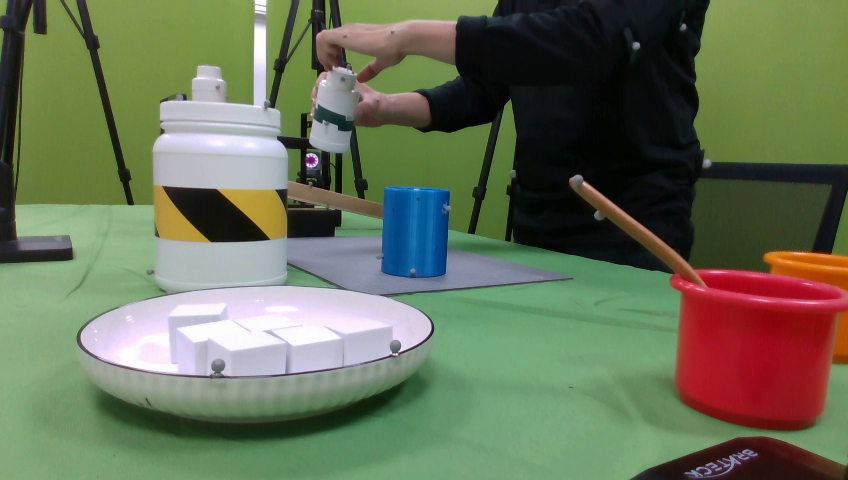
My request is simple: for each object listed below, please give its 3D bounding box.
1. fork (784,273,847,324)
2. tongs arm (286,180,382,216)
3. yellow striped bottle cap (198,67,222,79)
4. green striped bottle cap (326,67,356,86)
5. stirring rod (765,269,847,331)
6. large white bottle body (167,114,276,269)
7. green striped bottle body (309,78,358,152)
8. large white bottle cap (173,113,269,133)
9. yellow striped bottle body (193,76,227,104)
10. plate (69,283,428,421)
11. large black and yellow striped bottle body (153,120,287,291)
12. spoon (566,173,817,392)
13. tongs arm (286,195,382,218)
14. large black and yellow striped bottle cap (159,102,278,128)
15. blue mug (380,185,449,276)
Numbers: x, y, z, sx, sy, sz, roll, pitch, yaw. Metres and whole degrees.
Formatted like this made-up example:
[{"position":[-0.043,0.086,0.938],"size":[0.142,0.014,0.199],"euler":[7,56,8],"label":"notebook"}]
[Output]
[{"position":[0.332,0.018,0.444],"size":[0.028,0.018,0.207],"euler":[-2,-35,-15],"label":"fork"},{"position":[-0.122,-0.067,1.147],"size":[0.387,0.026,0.050],"euler":[11,-2,-37],"label":"tongs arm"},{"position":[-0.412,-0.320,1.163],"size":[0.044,0.018,0.044],"euler":[1,5,0],"label":"yellow striped bottle cap"},{"position":[-0.125,-0.247,0.914],"size":[0.044,0.020,0.044],"euler":[12,23,-5],"label":"green striped bottle cap"},{"position":[0.352,0.020,0.484],"size":[0.176,0.006,0.014],"euler":[-40,-6,13],"label":"stirring rod"},{"position":[-0.257,-0.063,0.772],"size":[0.131,0.184,0.130],"euler":[2,7,0],"label":"large white bottle body"},{"position":[-0.138,-0.201,0.936],"size":[0.063,0.119,0.063],"euler":[12,23,-5],"label":"green striped bottle body"},{"position":[-0.254,-0.146,0.760],"size":[0.115,0.018,0.115],"euler":[1,7,0],"label":"large white bottle cap"},{"position":[-0.414,-0.268,1.169],"size":[0.063,0.120,0.063],"euler":[2,7,0],"label":"yellow striped bottle body"},{"position":[-0.102,0.066,0.380],"size":[0.208,0.039,0.207],"euler":[2,7,0],"label":"plate"},{"position":[-0.208,-0.042,0.626],"size":[0.131,0.184,0.130],"euler":[2,7,0],"label":"large black and yellow striped bottle body"},{"position":[0.161,0.024,0.370],"size":[0.193,0.021,0.042],"euler":[47,18,3],"label":"spoon"},{"position":[-0.164,-0.075,1.216],"size":[0.389,0.027,0.028],"euler":[11,-6,-24],"label":"tongs arm"},{"position":[-0.207,-0.125,0.615],"size":[0.115,0.019,0.115],"euler":[2,6,0],"label":"large black and yellow striped bottle cap"},{"position":[-0.019,-0.016,0.764],"size":[0.083,0.106,0.116],"euler":[-1,8,-25],"label":"blue mug"}]
